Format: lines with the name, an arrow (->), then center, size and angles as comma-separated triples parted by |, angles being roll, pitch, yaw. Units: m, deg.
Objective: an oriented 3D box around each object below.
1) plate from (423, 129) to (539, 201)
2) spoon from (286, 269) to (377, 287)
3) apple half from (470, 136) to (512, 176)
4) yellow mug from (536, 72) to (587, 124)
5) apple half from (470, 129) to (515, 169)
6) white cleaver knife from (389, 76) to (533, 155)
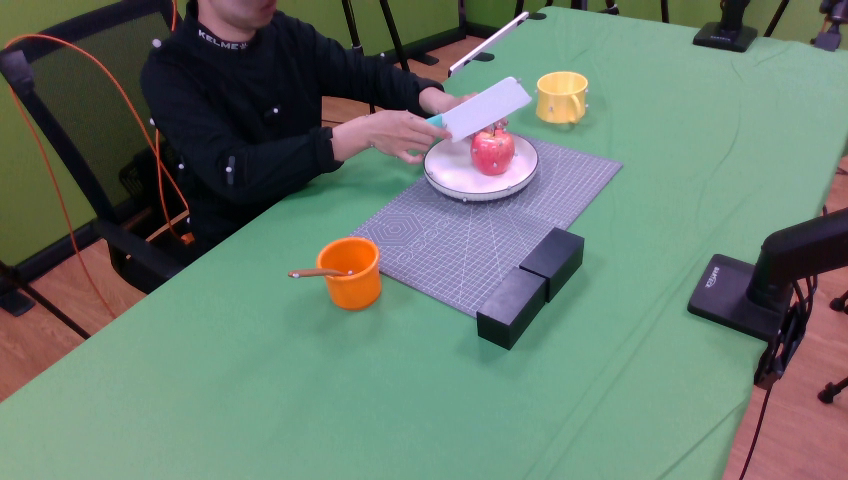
plate -> 0.102, -0.132, 1.092 | 0.209, 0.038, 0.208 | -4, 40, 4
spoon -> -0.125, 0.049, 0.831 | 0.041, 0.195, 0.021 | 22, 93, 28
apple half -> 0.113, -0.141, 1.059 | 0.081, 0.081, 0.033 | 11, 38, 21
yellow mug -> 0.285, -0.281, 1.222 | 0.100, 0.064, 0.130 | -16, 42, -9
apple half -> 0.129, -0.165, 1.087 | 0.080, 0.075, 0.053 | 8, 38, 24
white cleaver knife -> 0.053, -0.200, 1.046 | 0.285, 0.066, 0.021 | -20, 32, 35
